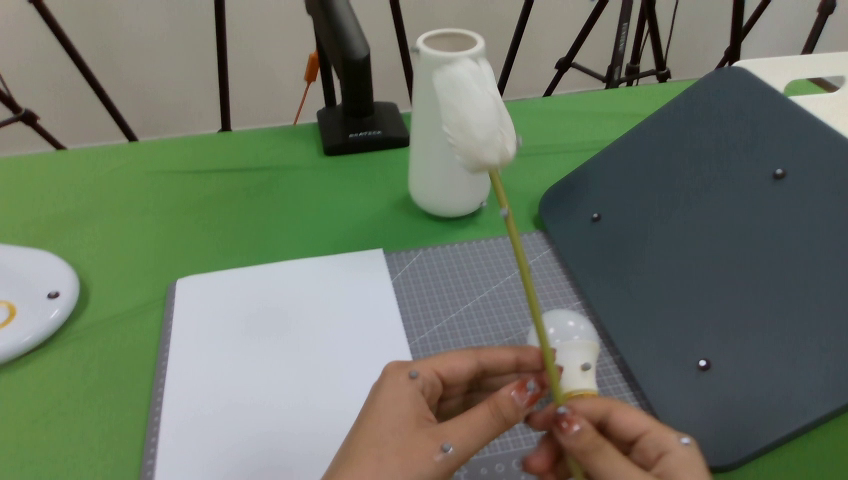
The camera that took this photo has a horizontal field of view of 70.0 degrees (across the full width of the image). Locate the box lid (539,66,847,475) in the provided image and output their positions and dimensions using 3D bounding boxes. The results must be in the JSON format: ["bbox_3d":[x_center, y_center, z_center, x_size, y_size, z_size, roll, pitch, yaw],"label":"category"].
[{"bbox_3d":[0.266,-0.003,0.545,0.263,0.015,0.367,-37,38,16],"label":"box lid"}]

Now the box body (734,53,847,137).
[{"bbox_3d":[0.483,-0.036,0.593,0.254,0.162,0.360,-7,40,-7],"label":"box body"}]

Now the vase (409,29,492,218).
[{"bbox_3d":[0.029,-0.124,0.672,0.098,0.202,0.097,-1,39,1],"label":"vase"}]

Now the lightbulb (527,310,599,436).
[{"bbox_3d":[0.121,0.108,0.503,0.059,0.060,0.106,-5,55,-5],"label":"lightbulb"}]

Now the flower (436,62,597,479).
[{"bbox_3d":[0.075,0.077,0.337,0.038,0.361,0.044,-17,0,4],"label":"flower"}]

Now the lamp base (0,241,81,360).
[{"bbox_3d":[-0.427,-0.002,0.537,0.177,0.182,0.160,25,46,31],"label":"lamp base"}]
